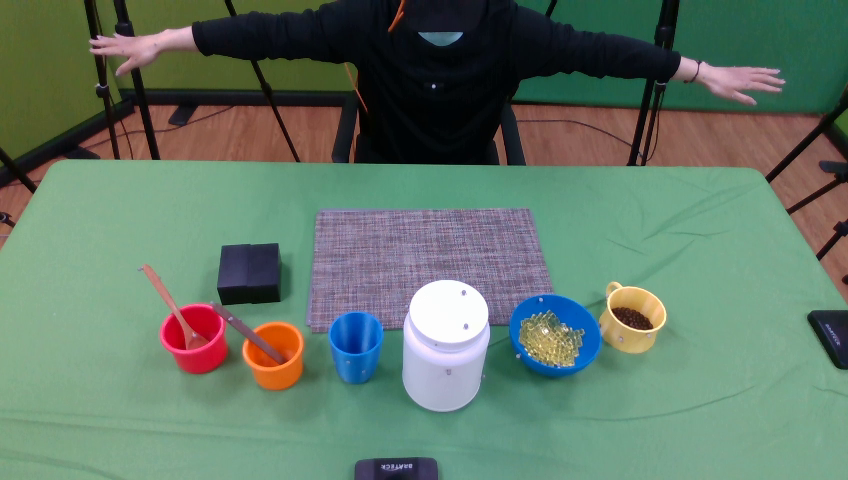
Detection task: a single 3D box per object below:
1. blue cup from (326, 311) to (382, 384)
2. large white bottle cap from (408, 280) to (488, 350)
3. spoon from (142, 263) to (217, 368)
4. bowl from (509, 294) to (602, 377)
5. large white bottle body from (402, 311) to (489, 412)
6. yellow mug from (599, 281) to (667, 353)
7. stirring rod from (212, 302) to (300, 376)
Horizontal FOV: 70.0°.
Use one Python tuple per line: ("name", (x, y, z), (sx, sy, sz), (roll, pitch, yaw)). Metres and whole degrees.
("blue cup", (-0.110, 0.178, 0.963), (0.093, 0.101, 0.092), (3, 45, -3))
("large white bottle cap", (0.034, 0.105, 0.866), (0.115, 0.018, 0.114), (2, 46, -1))
("spoon", (-0.392, 0.120, 0.968), (0.041, 0.021, 0.194), (-33, 100, -31))
("bowl", (0.211, 0.171, 1.007), (0.151, 0.077, 0.150), (2, 46, -2))
("large white bottle body", (0.031, 0.163, 0.928), (0.131, 0.185, 0.130), (2, 46, -2))
("yellow mug", (0.359, 0.127, 1.068), (0.100, 0.064, 0.130), (-11, 47, -14))
("stirring rod", (-0.261, 0.156, 0.948), (0.177, 0.006, 0.014), (45, 45, -20))
